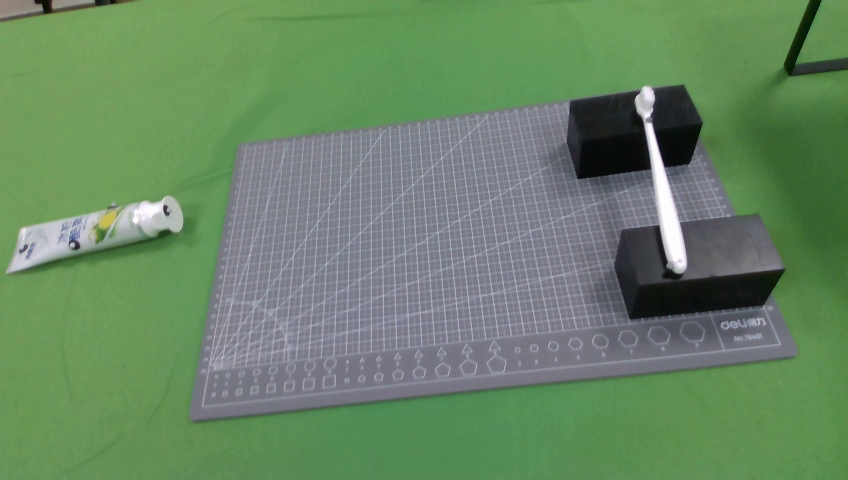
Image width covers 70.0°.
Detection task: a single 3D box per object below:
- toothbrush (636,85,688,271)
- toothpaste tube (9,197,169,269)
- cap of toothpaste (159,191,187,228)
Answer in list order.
[{"bbox_3d":[0.184,-0.055,0.468,0.014,0.017,0.180,8,56,-5],"label":"toothbrush"},{"bbox_3d":[-0.311,-0.013,0.573,0.165,0.035,0.054,-12,50,5],"label":"toothpaste tube"},{"bbox_3d":[-0.234,-0.028,0.565,0.011,0.038,0.037,-12,53,5],"label":"cap of toothpaste"}]
